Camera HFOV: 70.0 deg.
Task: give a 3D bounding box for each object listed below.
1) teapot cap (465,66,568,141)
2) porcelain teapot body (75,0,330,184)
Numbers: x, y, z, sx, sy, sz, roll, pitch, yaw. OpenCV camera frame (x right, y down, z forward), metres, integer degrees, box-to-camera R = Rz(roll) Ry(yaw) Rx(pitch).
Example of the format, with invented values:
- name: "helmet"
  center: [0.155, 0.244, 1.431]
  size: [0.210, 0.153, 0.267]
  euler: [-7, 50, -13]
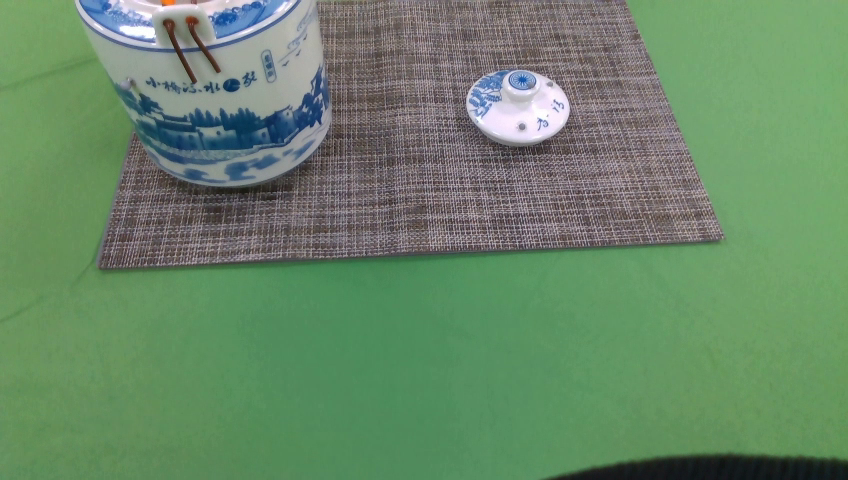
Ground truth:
- name: "teapot cap"
  center: [0.076, -0.117, 0.494]
  size: [0.085, 0.044, 0.084]
  euler: [-1, 55, 1]
- name: "porcelain teapot body"
  center: [-0.149, -0.175, 0.414]
  size: [0.145, 0.227, 0.203]
  euler: [-8, 56, -7]
